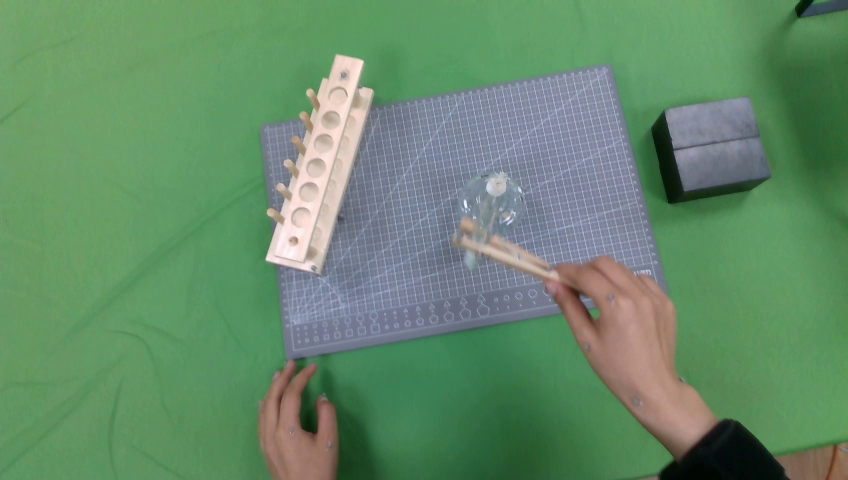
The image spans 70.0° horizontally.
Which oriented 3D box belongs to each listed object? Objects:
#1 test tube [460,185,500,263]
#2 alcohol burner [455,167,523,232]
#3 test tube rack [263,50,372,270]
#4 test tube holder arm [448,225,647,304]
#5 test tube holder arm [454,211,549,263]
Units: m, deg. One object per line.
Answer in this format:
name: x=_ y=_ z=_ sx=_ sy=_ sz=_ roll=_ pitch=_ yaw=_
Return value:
test tube: x=0.046 y=-0.009 z=0.523 sx=0.017 sy=0.151 sz=0.017 roll=1 pitch=70 yaw=-3
alcohol burner: x=0.073 y=-0.049 z=0.676 sx=0.078 sy=0.119 sz=0.077 roll=0 pitch=77 yaw=1
test tube rack: x=-0.131 y=-0.094 z=0.708 sx=0.066 sy=0.085 sz=0.241 roll=14 pitch=79 yaw=6
test tube holder arm: x=0.107 y=0.022 z=0.527 sx=0.178 sy=0.015 sz=0.013 roll=20 pitch=64 yaw=2
test tube holder arm: x=0.068 y=0.000 z=0.532 sx=0.087 sy=0.015 sz=0.010 roll=28 pitch=64 yaw=6
